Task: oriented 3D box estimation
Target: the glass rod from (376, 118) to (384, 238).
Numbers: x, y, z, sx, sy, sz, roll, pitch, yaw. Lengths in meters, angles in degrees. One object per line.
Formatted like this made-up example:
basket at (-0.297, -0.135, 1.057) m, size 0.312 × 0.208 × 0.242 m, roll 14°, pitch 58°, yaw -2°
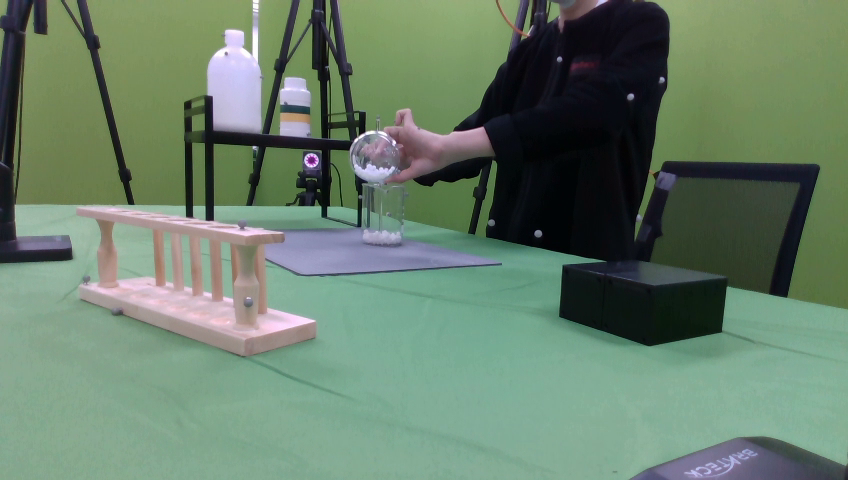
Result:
glass rod at (-0.073, -0.102, 1.006) m, size 0.008 × 0.199 × 0.008 m, roll -2°, pitch 4°, yaw 0°

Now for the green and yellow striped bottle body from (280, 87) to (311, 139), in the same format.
green and yellow striped bottle body at (-0.269, -0.274, 1.266) m, size 0.063 × 0.119 × 0.063 m, roll 3°, pitch 7°, yaw 0°

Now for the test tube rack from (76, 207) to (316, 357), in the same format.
test tube rack at (-0.196, 0.023, 0.500) m, size 0.241 × 0.085 × 0.067 m, roll 8°, pitch 9°, yaw 36°

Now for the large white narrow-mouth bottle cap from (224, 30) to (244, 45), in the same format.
large white narrow-mouth bottle cap at (-0.365, -0.389, 1.166) m, size 0.038 × 0.024 × 0.037 m, roll 2°, pitch 9°, yaw 0°

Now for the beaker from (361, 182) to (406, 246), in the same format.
beaker at (-0.067, -0.042, 0.993) m, size 0.074 × 0.100 × 0.084 m, roll 1°, pitch 8°, yaw -8°

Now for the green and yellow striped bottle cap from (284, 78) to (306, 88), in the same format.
green and yellow striped bottle cap at (-0.268, -0.325, 1.259) m, size 0.045 × 0.020 × 0.045 m, roll 5°, pitch 7°, yaw 0°

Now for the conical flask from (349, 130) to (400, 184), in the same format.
conical flask at (-0.067, -0.115, 0.918) m, size 0.075 × 0.075 × 0.122 m, roll 3°, pitch -6°, yaw 5°

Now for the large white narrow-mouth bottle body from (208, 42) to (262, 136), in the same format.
large white narrow-mouth bottle body at (-0.368, -0.304, 1.181) m, size 0.102 × 0.194 × 0.101 m, roll 2°, pitch 9°, yaw 0°
